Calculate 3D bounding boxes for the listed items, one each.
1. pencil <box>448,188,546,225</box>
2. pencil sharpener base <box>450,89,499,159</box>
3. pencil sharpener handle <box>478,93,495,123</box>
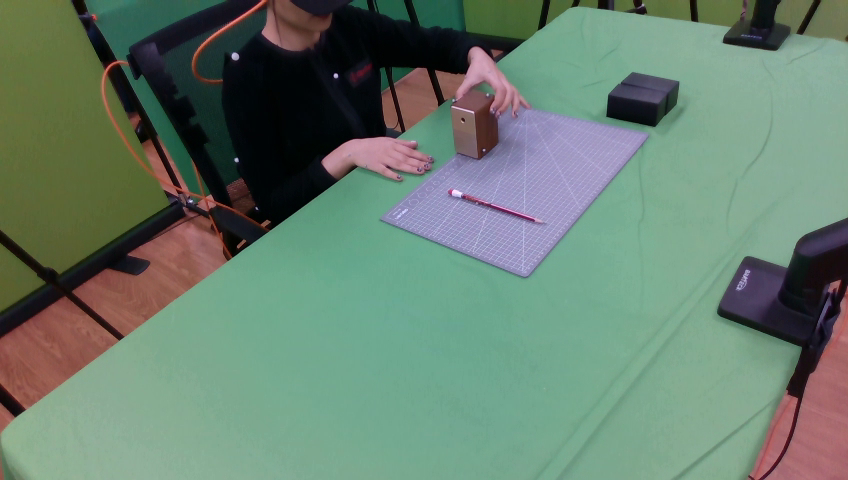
[{"bbox_3d":[0.122,-0.057,1.033,0.192,0.012,0.012,22,50,29],"label":"pencil"},{"bbox_3d":[0.099,-0.223,1.155,0.061,0.107,0.077,23,49,33],"label":"pencil sharpener base"},{"bbox_3d":[0.127,-0.262,1.177,0.036,0.068,0.031,31,53,24],"label":"pencil sharpener handle"}]
